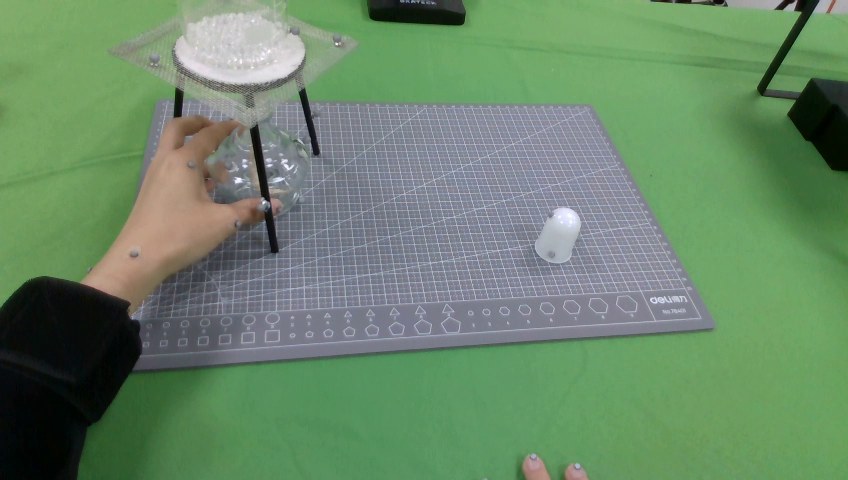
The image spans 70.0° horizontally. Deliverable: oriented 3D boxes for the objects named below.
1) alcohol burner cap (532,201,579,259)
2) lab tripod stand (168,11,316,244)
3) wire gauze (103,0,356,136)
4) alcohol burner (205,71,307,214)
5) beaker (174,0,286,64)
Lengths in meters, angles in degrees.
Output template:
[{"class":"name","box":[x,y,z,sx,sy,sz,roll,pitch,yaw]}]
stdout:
[{"class":"alcohol burner cap","box":[0.111,-0.010,0.501,0.034,0.048,0.033,5,47,-5]},{"class":"lab tripod stand","box":[-0.135,-0.091,0.467,0.149,0.132,0.147,6,48,-7]},{"class":"wire gauze","box":[-0.129,-0.134,0.418,0.124,0.011,0.121,30,53,11]},{"class":"alcohol burner","box":[-0.130,-0.078,0.469,0.078,0.120,0.077,6,46,-6]},{"class":"beaker","box":[-0.127,-0.171,0.385,0.073,0.101,0.084,35,53,19]}]
